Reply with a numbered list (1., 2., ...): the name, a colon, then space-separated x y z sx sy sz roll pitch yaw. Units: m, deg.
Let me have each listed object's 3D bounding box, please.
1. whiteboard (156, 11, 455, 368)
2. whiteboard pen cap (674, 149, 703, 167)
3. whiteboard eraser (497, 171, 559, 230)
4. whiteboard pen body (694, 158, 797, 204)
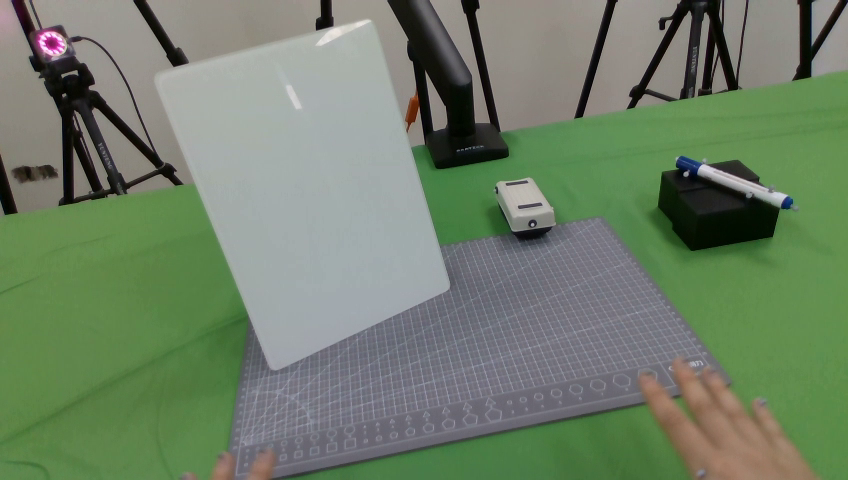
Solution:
1. whiteboard: -0.126 -0.059 0.665 0.217 0.307 0.143 -23 18 -20
2. whiteboard pen cap: 0.328 -0.101 0.751 0.033 0.018 0.018 -12 30 27
3. whiteboard eraser: 0.133 -0.052 0.786 0.055 0.042 0.111 -11 31 -1
4. whiteboard pen body: 0.364 -0.074 0.707 0.017 0.017 0.139 -25 38 -23
